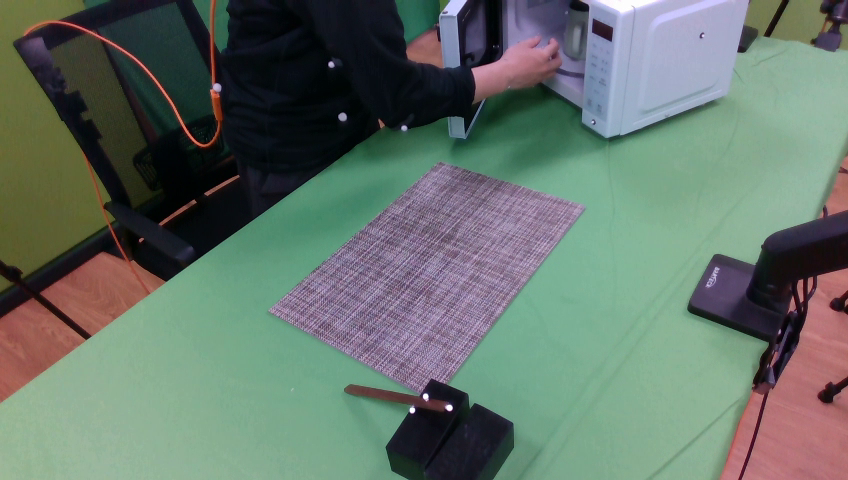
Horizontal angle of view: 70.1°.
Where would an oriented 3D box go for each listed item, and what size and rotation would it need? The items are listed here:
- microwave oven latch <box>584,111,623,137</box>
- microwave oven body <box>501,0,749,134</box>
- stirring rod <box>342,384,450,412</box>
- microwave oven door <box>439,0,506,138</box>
[{"bbox_3d":[0.337,-0.222,1.142,0.030,0.029,0.078,-21,42,-14],"label":"microwave oven latch"},{"bbox_3d":[0.382,-0.444,1.246,0.327,0.261,0.437,-22,42,-16],"label":"microwave oven body"},{"bbox_3d":[-0.038,0.186,0.714,0.175,0.006,0.014,-3,22,43],"label":"stirring rod"},{"bbox_3d":[0.108,-0.406,1.231,0.039,0.245,0.355,7,43,18],"label":"microwave oven door"}]
